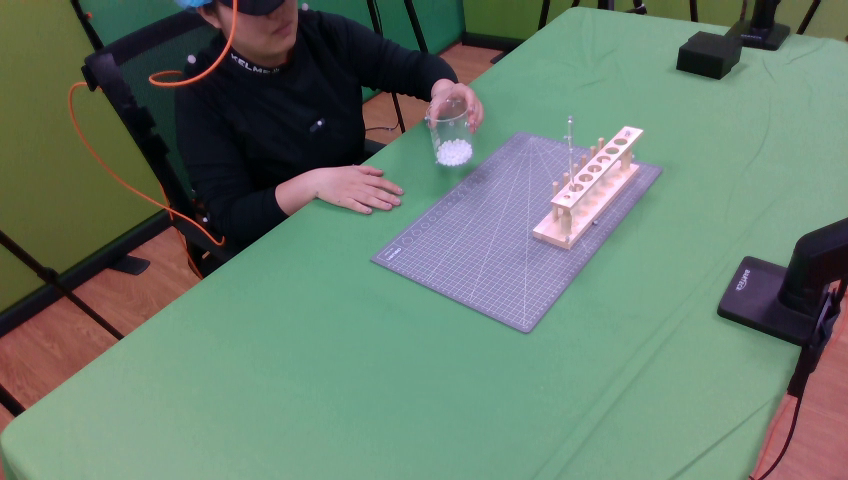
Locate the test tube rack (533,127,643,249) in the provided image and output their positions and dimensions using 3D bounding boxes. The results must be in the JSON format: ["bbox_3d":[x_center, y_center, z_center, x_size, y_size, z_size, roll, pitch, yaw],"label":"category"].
[{"bbox_3d":[0.271,-0.094,0.989,0.066,0.085,0.243,23,50,33],"label":"test tube rack"}]

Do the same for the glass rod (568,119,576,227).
[{"bbox_3d":[0.219,-0.093,0.894,0.008,0.201,0.008,-8,43,8],"label":"glass rod"}]

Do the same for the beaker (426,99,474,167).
[{"bbox_3d":[0.049,-0.188,1.063,0.073,0.101,0.084,3,42,19],"label":"beaker"}]
